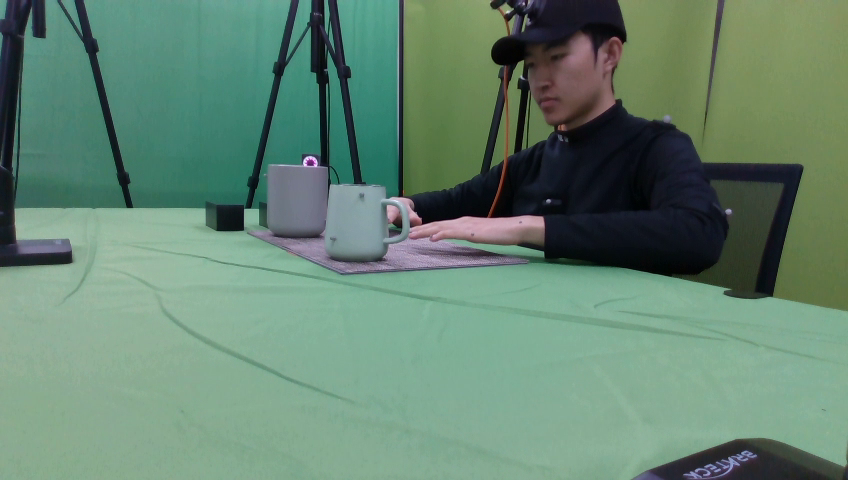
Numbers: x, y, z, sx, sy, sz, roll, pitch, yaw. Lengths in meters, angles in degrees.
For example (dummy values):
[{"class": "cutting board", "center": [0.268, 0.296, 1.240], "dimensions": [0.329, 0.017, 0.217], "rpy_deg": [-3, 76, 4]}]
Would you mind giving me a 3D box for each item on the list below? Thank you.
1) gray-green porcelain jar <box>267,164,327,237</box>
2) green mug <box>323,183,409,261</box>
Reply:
[{"class": "gray-green porcelain jar", "center": [-0.227, -0.072, 1.086], "dimensions": [0.106, 0.126, 0.106], "rpy_deg": [2, 8, 0]}, {"class": "green mug", "center": [-0.080, -0.026, 0.851], "dimensions": [0.125, 0.105, 0.093], "rpy_deg": [5, 7, 20]}]
